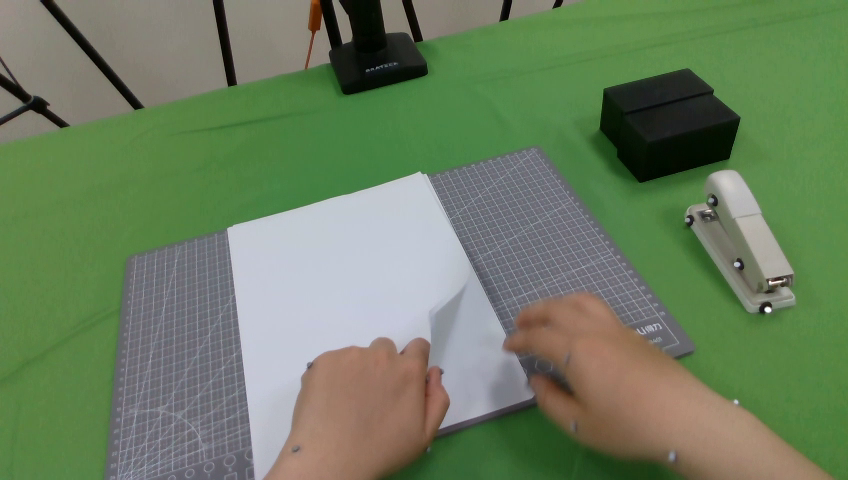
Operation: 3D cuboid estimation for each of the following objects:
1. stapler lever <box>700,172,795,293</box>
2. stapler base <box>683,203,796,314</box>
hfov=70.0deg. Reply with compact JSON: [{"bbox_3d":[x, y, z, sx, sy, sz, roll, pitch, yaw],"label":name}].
[{"bbox_3d":[0.268,-0.011,0.506,0.027,0.040,0.117,-12,46,0],"label":"stapler lever"},{"bbox_3d":[0.270,0.006,0.525,0.041,0.025,0.129,-12,46,0],"label":"stapler base"}]
